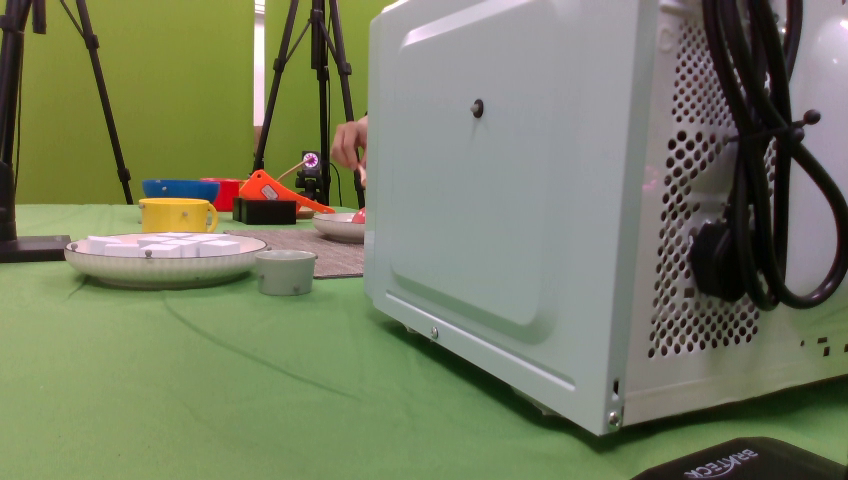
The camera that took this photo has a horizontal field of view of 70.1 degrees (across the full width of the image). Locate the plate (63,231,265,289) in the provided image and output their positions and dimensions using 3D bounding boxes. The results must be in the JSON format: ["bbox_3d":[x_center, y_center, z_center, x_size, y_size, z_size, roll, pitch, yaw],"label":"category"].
[{"bbox_3d":[-0.288,0.021,0.687,0.208,0.039,0.207,2,8,0],"label":"plate"}]

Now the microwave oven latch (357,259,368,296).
[{"bbox_3d":[-0.019,0.031,0.528,0.079,0.029,0.030,-1,7,-25],"label":"microwave oven latch"}]

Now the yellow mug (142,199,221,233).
[{"bbox_3d":[-0.373,-0.030,0.948,0.099,0.064,0.131,5,7,30],"label":"yellow mug"}]

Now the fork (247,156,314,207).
[{"bbox_3d":[-0.360,-0.147,1.523,0.207,0.018,0.028,-43,16,-7],"label":"fork"}]

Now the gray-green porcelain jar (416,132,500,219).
[{"bbox_3d":[0.065,-0.108,1.069,0.106,0.126,0.106,-37,12,10],"label":"gray-green porcelain jar"}]

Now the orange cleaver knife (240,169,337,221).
[{"bbox_3d":[-0.287,-0.081,1.298,0.212,0.077,0.012,25,-3,-31],"label":"orange cleaver knife"}]

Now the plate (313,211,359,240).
[{"bbox_3d":[-0.090,-0.026,1.063,0.209,0.038,0.209,2,7,0],"label":"plate"}]

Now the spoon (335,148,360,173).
[{"bbox_3d":[-0.122,-0.133,1.111,0.042,0.021,0.193,-1,32,-33],"label":"spoon"}]

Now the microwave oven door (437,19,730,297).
[{"bbox_3d":[0.181,-0.076,0.618,0.358,0.243,0.039,-2,9,-28],"label":"microwave oven door"}]

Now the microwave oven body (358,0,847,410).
[{"bbox_3d":[0.210,-0.051,0.471,0.444,0.260,0.324,-1,7,-28],"label":"microwave oven body"}]

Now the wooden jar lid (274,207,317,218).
[{"bbox_3d":[-0.303,-0.065,1.409,0.108,0.020,0.108,3,9,0],"label":"wooden jar lid"}]

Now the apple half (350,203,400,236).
[{"bbox_3d":[-0.081,-0.036,1.024,0.081,0.053,0.074,-2,10,-34],"label":"apple half"}]

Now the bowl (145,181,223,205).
[{"bbox_3d":[-0.499,-0.081,1.261,0.151,0.077,0.151,2,8,0],"label":"bowl"}]

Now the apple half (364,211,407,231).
[{"bbox_3d":[-0.068,-0.037,1.103,0.081,0.033,0.081,0,9,0],"label":"apple half"}]

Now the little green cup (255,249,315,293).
[{"bbox_3d":[-0.144,0.031,0.627,0.061,0.038,0.061,2,6,0],"label":"little green cup"}]
